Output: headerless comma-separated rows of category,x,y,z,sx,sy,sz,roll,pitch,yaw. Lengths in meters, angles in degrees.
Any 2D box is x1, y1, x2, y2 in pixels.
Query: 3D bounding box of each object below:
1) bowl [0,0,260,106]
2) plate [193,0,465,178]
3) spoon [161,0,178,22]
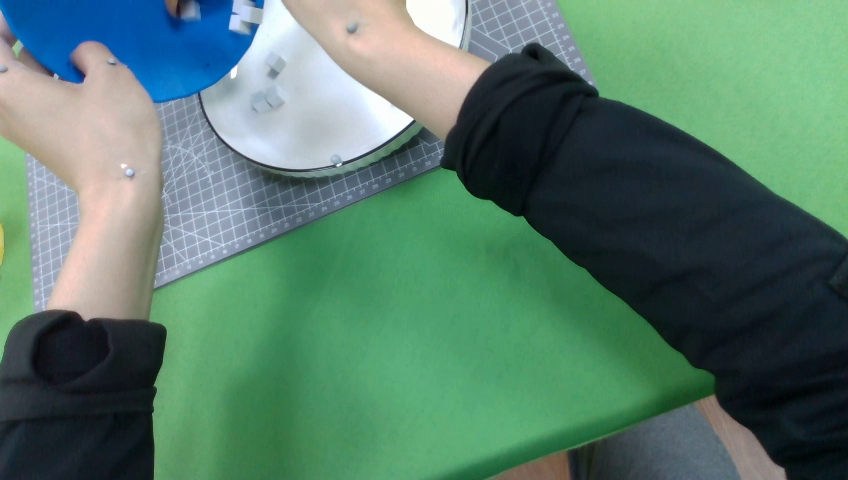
bowl,-0.187,-0.168,0.377,0.151,0.153,0.076,-46,43,0
plate,-0.069,-0.138,0.437,0.208,0.038,0.208,-5,72,15
spoon,-0.114,-0.181,0.334,0.193,0.022,0.041,-21,62,47
